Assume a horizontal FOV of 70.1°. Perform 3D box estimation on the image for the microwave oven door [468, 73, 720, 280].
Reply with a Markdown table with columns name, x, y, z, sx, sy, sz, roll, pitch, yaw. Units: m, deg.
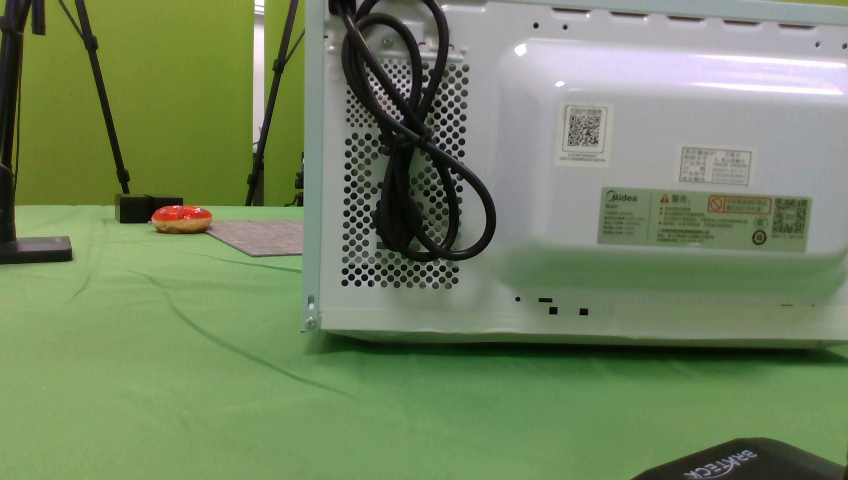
| name | x | y | z | sx | sy | sz | roll | pitch | yaw |
| --- | --- | --- | --- | --- | --- | --- | --- | --- | --- |
| microwave oven door | 0.208 | -0.092 | 0.830 | 0.039 | 0.243 | 0.354 | -5 | 10 | -44 |

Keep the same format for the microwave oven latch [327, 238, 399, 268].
| name | x | y | z | sx | sy | sz | roll | pitch | yaw |
| --- | --- | --- | --- | --- | --- | --- | --- | --- | --- |
| microwave oven latch | -0.069 | 0.015 | 0.694 | 0.079 | 0.029 | 0.030 | 3 | 7 | -3 |

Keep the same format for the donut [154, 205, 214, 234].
| name | x | y | z | sx | sy | sz | roll | pitch | yaw |
| --- | --- | --- | --- | --- | --- | --- | --- | --- | --- |
| donut | -0.426 | -0.037 | 1.075 | 0.099 | 0.048 | 0.099 | 2 | 12 | 0 |

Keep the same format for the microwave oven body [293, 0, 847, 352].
| name | x | y | z | sx | sy | sz | roll | pitch | yaw |
| --- | --- | --- | --- | --- | --- | --- | --- | --- | --- |
| microwave oven body | 0.122 | -0.055 | 0.550 | 0.442 | 0.260 | 0.325 | 3 | 7 | -5 |
